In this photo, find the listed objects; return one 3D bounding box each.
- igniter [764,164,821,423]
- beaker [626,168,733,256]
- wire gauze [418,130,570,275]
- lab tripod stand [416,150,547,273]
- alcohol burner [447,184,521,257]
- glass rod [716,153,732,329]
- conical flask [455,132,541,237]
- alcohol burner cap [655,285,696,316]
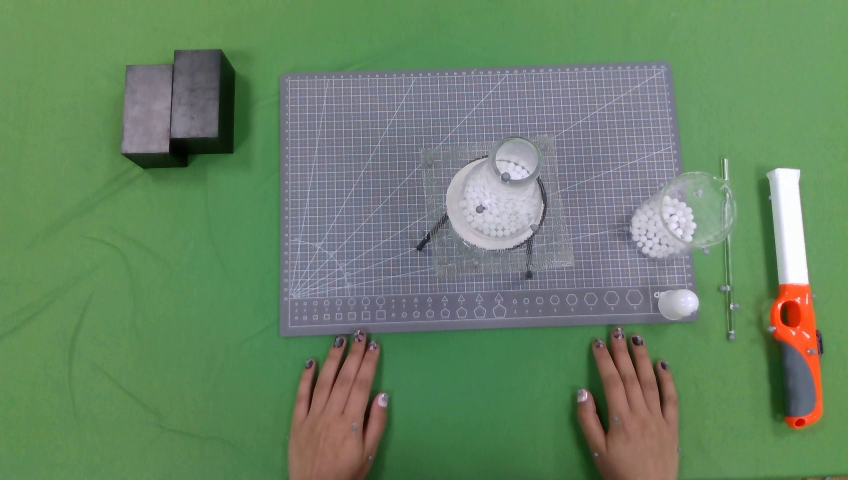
[{"bbox_3d":[0.394,0.053,0.650,0.057,0.025,0.275,2,81,-10],"label":"igniter"},{"bbox_3d":[0.259,-0.026,0.623,0.084,0.100,0.074,-39,82,-7],"label":"beaker"},{"bbox_3d":[0.062,-0.033,0.538,0.125,0.011,0.121,-6,83,-4],"label":"wire gauze"},{"bbox_3d":[0.062,-0.024,0.603,0.148,0.132,0.148,0,82,0],"label":"lab tripod stand"},{"bbox_3d":[0.062,-0.024,0.613,0.078,0.119,0.077,0,78,1],"label":"alcohol burner"},{"bbox_3d":[0.332,-0.001,0.669,0.008,0.008,0.199,2,80,0],"label":"glass rod"},{"bbox_3d":[0.064,-0.048,0.480,0.075,0.122,0.075,0,80,0],"label":"conical flask"},{"bbox_3d":[0.267,0.062,0.637,0.034,0.048,0.033,0,80,0],"label":"alcohol burner cap"}]
